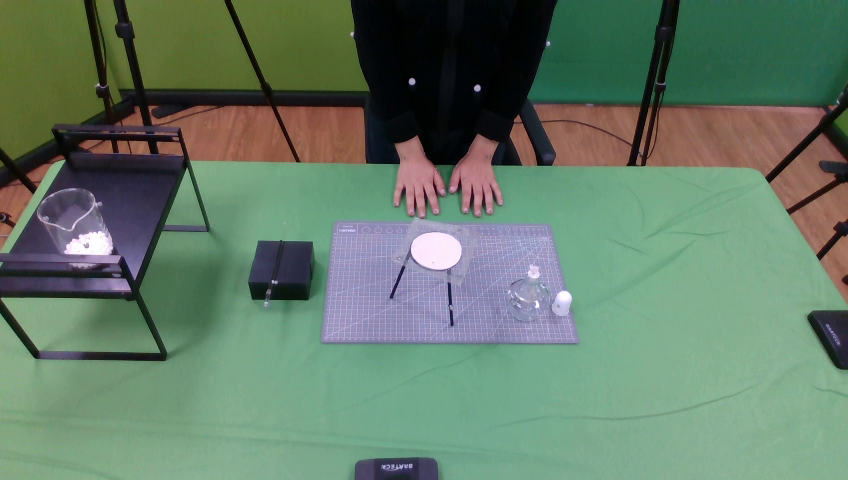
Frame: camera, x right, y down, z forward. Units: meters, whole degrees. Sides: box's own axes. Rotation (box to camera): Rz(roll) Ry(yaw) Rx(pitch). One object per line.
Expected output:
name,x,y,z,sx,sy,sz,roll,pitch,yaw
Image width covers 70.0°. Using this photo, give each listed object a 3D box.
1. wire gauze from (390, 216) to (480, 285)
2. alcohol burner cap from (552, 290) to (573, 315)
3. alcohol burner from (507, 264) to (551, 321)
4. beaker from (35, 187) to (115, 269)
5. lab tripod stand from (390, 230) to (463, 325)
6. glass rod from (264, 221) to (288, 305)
wire gauze,0.020,0.012,1.009,0.125,0.011,0.121,16,48,12
alcohol burner cap,0.250,0.109,1.088,0.034,0.048,0.033,4,47,-4
alcohol burner,0.185,0.086,1.056,0.078,0.120,0.077,1,46,-1
beaker,-0.494,-0.012,0.867,0.074,0.101,0.083,-17,50,-18
lab tripod stand,0.014,0.060,1.056,0.148,0.132,0.147,1,48,-1
glass rod,-0.263,0.037,1.083,0.008,0.008,0.198,3,46,-1
